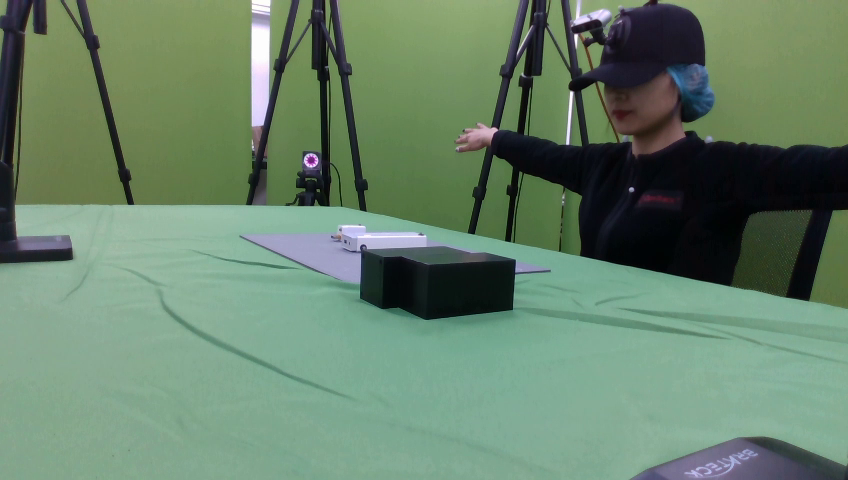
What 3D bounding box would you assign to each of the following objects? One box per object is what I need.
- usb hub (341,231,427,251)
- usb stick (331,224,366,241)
[{"bbox_3d":[-0.061,0.001,0.935,0.126,0.025,0.049,-2,9,-26],"label":"usb hub"},{"bbox_3d":[-0.128,-0.013,1.018,0.059,0.027,0.021,-5,11,-31],"label":"usb stick"}]
